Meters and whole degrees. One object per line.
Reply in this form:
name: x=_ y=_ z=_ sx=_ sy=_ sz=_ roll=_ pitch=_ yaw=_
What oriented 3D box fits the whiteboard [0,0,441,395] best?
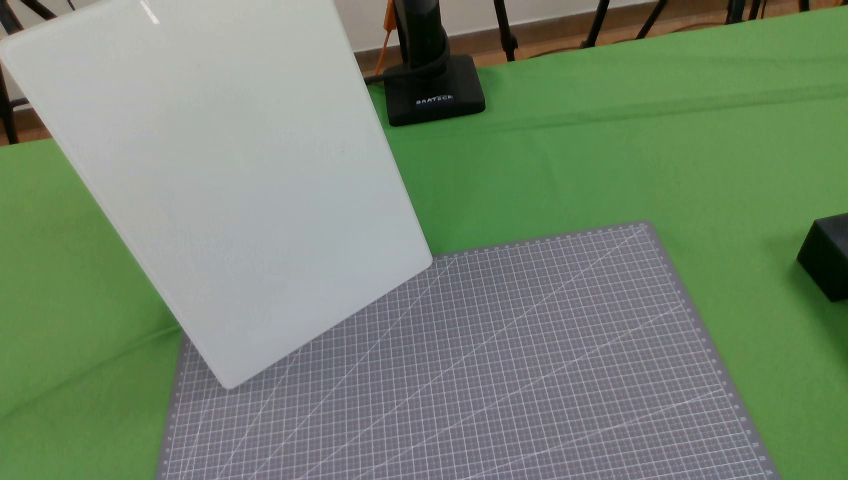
whiteboard: x=-0.151 y=-0.068 z=0.523 sx=0.217 sy=0.308 sz=0.142 roll=-31 pitch=30 yaw=-17
